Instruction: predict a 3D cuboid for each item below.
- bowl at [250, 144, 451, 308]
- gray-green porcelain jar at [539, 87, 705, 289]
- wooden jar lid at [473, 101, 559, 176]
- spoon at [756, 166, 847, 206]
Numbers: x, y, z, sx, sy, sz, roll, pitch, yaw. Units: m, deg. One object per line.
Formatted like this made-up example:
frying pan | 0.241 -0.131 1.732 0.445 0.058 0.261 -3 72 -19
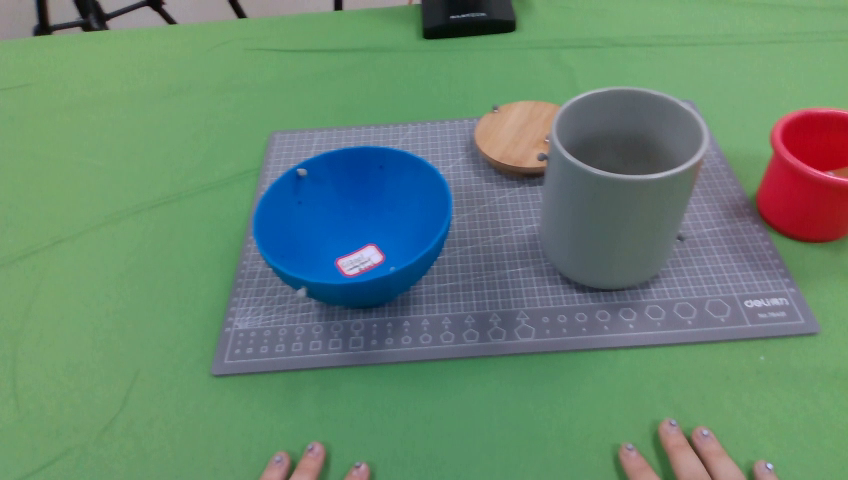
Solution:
bowl | -0.052 0.001 0.479 0.151 0.077 0.150 -2 47 3
gray-green porcelain jar | 0.142 -0.033 0.461 0.106 0.128 0.105 -3 47 3
wooden jar lid | 0.102 -0.100 0.600 0.108 0.021 0.107 -3 46 3
spoon | 0.353 -0.060 0.459 0.022 0.193 0.041 50 54 -13
